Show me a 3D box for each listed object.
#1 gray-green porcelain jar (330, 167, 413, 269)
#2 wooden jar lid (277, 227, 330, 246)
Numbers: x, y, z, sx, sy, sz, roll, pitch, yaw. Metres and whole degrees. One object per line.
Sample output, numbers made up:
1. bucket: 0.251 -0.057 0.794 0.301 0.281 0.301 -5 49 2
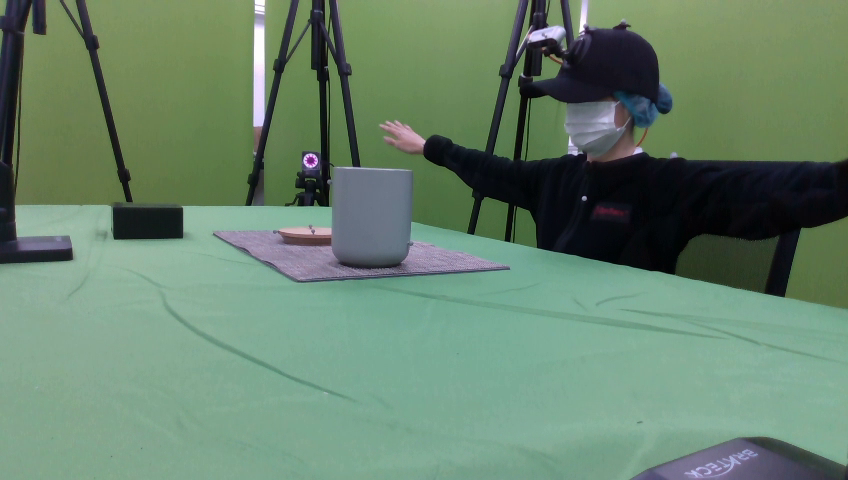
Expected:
1. gray-green porcelain jar: -0.069 -0.030 0.791 0.106 0.126 0.106 3 7 0
2. wooden jar lid: -0.183 -0.006 0.979 0.108 0.020 0.108 3 8 0
